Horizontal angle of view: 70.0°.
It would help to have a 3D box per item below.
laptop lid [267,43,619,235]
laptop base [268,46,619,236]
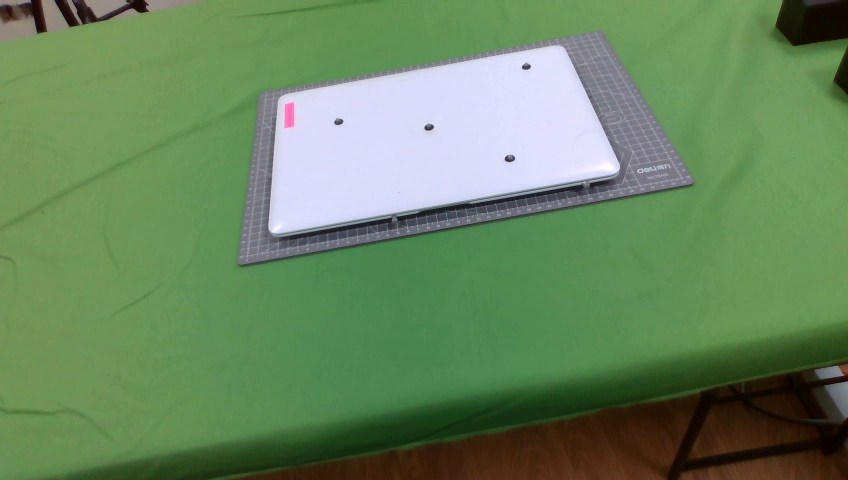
[{"bbox_3d":[0.006,-0.122,0.661,0.357,0.013,0.239,-9,50,3],"label":"laptop lid"},{"bbox_3d":[0.007,-0.116,0.672,0.354,0.023,0.233,-10,51,1],"label":"laptop base"}]
